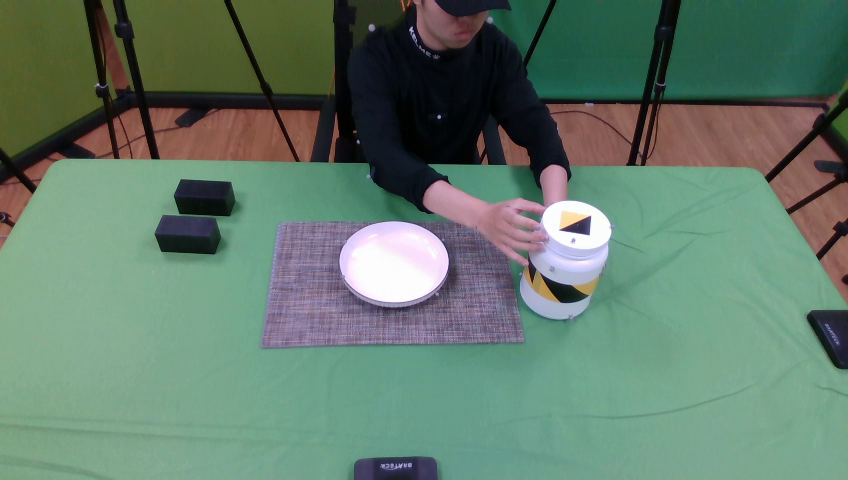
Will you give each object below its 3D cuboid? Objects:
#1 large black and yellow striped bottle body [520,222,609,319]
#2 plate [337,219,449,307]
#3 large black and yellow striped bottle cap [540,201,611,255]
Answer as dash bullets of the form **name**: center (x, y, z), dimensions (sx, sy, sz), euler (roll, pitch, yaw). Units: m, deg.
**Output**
- **large black and yellow striped bottle body**: center (0.247, 0.038, 1.065), dimensions (0.131, 0.185, 0.130), euler (2, 46, -2)
- **plate**: center (-0.057, 0.045, 1.132), dimensions (0.208, 0.039, 0.206), euler (2, 46, -2)
- **large black and yellow striped bottle cap**: center (0.251, -0.021, 1.002), dimensions (0.115, 0.019, 0.114), euler (2, 44, -2)
